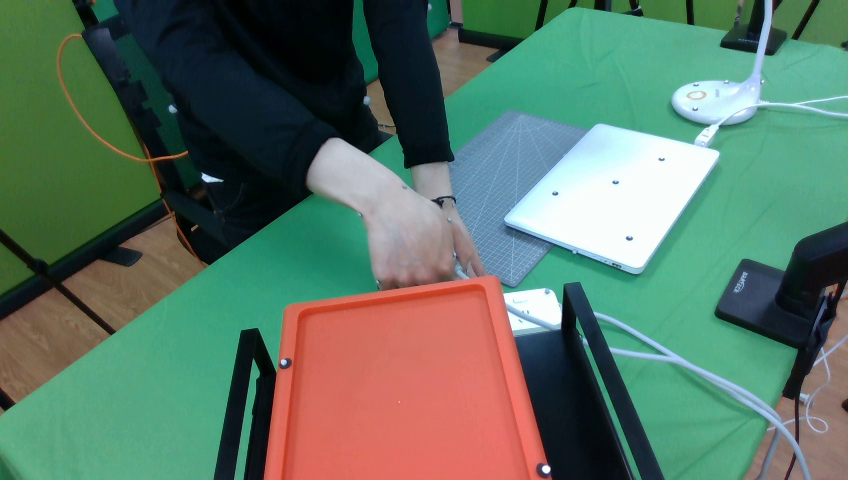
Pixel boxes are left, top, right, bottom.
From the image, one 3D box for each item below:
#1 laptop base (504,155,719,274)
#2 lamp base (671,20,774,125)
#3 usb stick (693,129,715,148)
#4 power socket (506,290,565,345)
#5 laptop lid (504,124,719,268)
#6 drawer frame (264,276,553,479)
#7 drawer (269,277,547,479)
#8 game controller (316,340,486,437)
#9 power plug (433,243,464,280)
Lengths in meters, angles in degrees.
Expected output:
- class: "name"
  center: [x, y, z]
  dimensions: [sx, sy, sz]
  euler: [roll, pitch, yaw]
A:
- class: "laptop base"
  center: [0.325, -0.083, 1.028]
  dimensions: [0.233, 0.023, 0.355]
  euler: [21, 48, 32]
- class: "lamp base"
  center: [0.581, -0.332, 1.154]
  dimensions: [0.179, 0.181, 0.160]
  euler: [2, 42, 7]
- class: "usb stick"
  center: [0.501, -0.176, 1.092]
  dimensions: [0.021, 0.027, 0.059]
  euler: [29, 55, 29]
- class: "power socket"
  center: [0.081, 0.112, 0.822]
  dimensions: [0.227, 0.033, 0.072]
  euler: [-7, 41, 0]
- class: "laptop lid"
  center: [0.323, -0.093, 1.021]
  dimensions: [0.240, 0.013, 0.358]
  euler: [23, 49, 32]
- class: "drawer frame"
  center: [-0.016, 0.137, 0.490]
  dimensions: [0.202, 0.083, 0.212]
  euler: [-8, 41, -1]
- class: "drawer"
  center: [-0.018, 0.137, 0.493]
  dimensions: [0.195, 0.073, 0.210]
  euler: [-7, 41, -1]
- class: "game controller"
  center: [-0.021, 0.120, 0.534]
  dimensions: [0.155, 0.052, 0.096]
  euler: [-3, 37, 0]
- class: "power plug"
  center: [0.028, 0.036, 0.672]
  dimensions: [0.035, 0.053, 0.072]
  euler: [-9, 50, 9]
